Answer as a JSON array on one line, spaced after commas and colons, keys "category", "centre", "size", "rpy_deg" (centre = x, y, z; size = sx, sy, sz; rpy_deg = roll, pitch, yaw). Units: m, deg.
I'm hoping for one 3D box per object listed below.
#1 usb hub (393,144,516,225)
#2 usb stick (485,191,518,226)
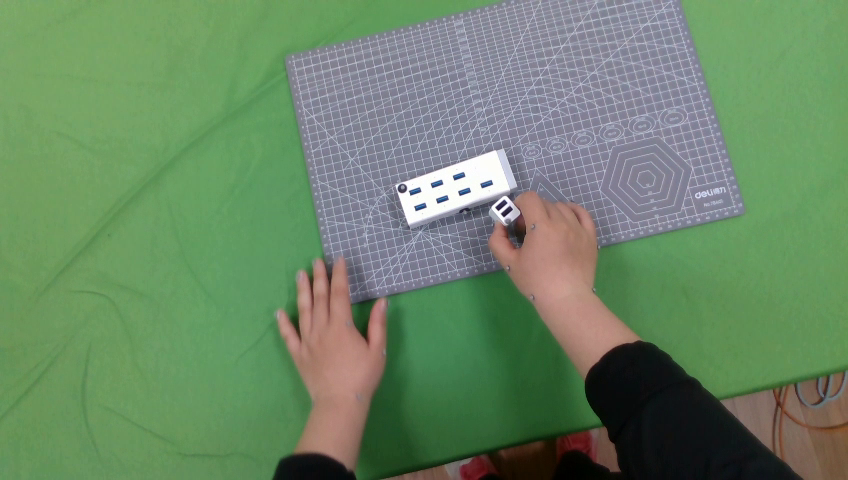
[{"category": "usb hub", "centre": [0.032, -0.060, 0.655], "size": [0.125, 0.025, 0.049], "rpy_deg": [-19, 81, 2]}, {"category": "usb stick", "centre": [0.080, -0.031, 0.631], "size": [0.021, 0.059, 0.027], "rpy_deg": [-41, 82, -3]}]
